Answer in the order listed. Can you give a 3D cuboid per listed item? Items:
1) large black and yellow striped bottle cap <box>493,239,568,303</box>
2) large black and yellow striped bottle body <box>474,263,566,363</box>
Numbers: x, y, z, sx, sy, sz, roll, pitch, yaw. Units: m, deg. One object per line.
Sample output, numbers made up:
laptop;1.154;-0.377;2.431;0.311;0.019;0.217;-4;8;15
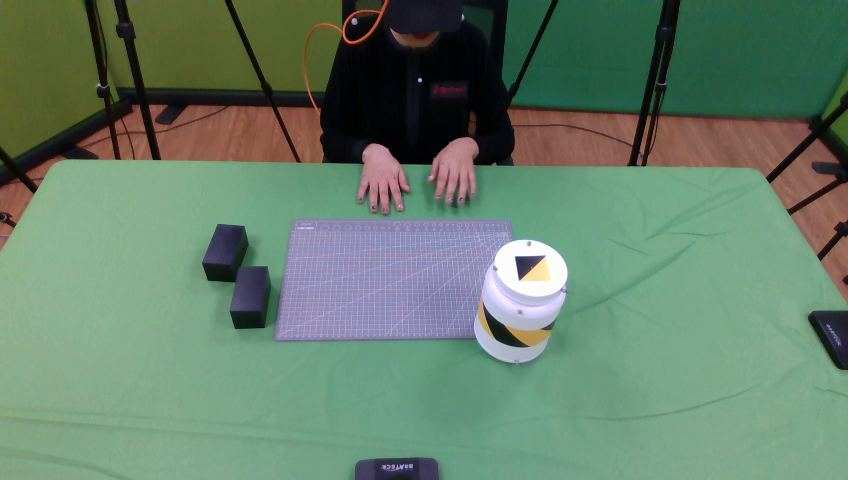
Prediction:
large black and yellow striped bottle cap;0.163;0.045;0.932;0.115;0.019;0.114;3;49;-3
large black and yellow striped bottle body;0.157;0.103;0.993;0.131;0.185;0.130;3;48;-3
